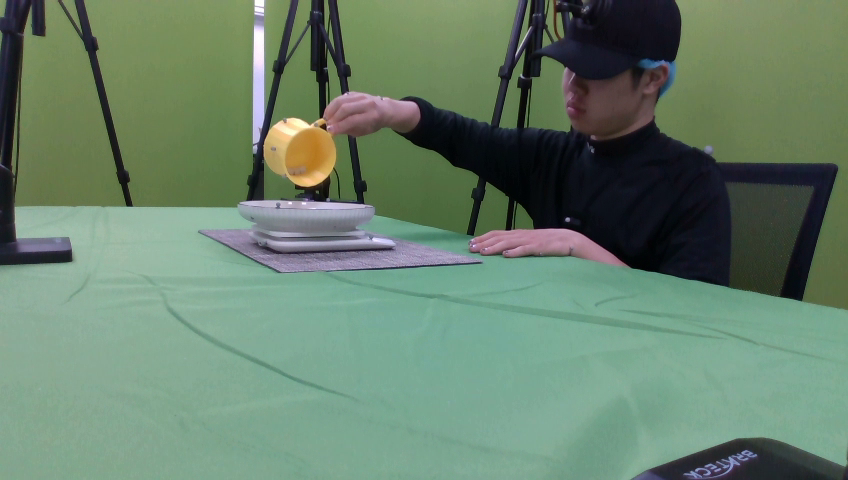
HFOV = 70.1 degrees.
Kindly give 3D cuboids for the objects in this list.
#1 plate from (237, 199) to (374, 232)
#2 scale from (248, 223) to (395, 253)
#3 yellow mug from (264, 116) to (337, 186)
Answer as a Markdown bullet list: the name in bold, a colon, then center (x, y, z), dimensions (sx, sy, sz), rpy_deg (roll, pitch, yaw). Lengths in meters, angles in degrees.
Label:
- **plate**: center (-0.183, -0.039, 0.941), dimensions (0.209, 0.038, 0.209), rpy_deg (3, 7, 0)
- **scale**: center (-0.162, -0.006, 0.954), dimensions (0.202, 0.031, 0.148), rpy_deg (-2, 8, -32)
- **yellow mug**: center (-0.195, -0.158, 1.004), dimensions (0.063, 0.131, 0.100), rpy_deg (28, -18, 41)
